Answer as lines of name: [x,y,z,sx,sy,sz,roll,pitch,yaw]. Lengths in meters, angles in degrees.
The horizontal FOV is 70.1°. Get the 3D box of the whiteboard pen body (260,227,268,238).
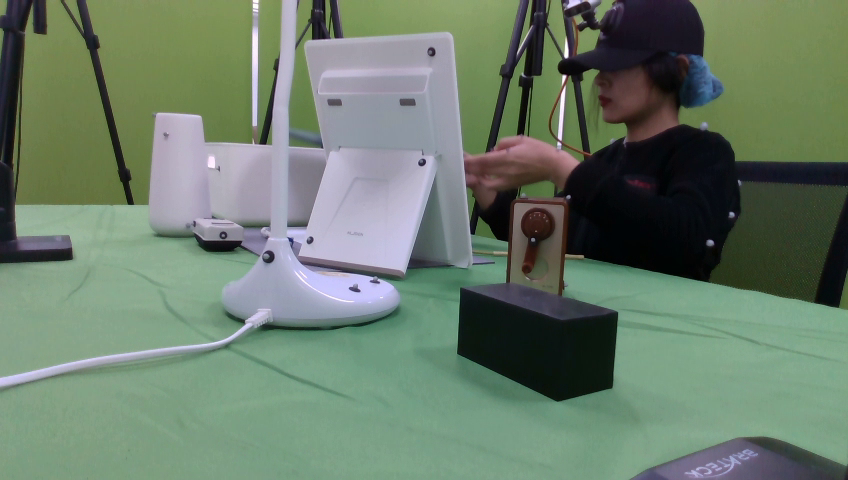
whiteboard pen body: [-0.239,-0.005,0.965,0.017,0.017,0.140,-2,9,-28]

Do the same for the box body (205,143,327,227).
box body: [-0.276,-0.122,1.320,0.366,0.160,0.253,-2,9,-30]

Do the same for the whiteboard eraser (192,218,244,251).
whiteboard eraser: [-0.307,-0.009,0.899,0.056,0.042,0.112,-2,9,-29]

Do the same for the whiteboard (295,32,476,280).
whiteboard: [-0.076,-0.084,0.747,0.216,0.305,0.144,7,28,29]

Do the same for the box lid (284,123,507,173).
box lid: [-0.056,-0.166,1.103,0.373,0.015,0.262,5,12,-29]

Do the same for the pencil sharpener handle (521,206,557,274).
pencil sharpener handle: [0.112,0.000,0.611,0.036,0.067,0.031,13,10,11]

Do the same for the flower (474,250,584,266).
flower: [0.072,0.016,0.938,0.362,0.038,0.044,7,0,-3]

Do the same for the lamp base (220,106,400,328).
lamp base: [-0.102,-0.023,0.531,0.160,0.180,0.179,4,10,10]

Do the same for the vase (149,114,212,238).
vase: [-0.405,-0.106,1.005,0.098,0.200,0.098,2,6,0]

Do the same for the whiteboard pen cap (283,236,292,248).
whiteboard pen cap: [-0.211,0.003,0.913,0.018,0.018,0.033,-2,6,-28]

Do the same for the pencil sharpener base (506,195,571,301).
pencil sharpener base: [0.126,0.007,0.662,0.061,0.107,0.077,4,8,13]

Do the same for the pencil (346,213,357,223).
pencil: [-0.161,-0.052,1.364,0.012,0.012,0.194,2,6,-2]
